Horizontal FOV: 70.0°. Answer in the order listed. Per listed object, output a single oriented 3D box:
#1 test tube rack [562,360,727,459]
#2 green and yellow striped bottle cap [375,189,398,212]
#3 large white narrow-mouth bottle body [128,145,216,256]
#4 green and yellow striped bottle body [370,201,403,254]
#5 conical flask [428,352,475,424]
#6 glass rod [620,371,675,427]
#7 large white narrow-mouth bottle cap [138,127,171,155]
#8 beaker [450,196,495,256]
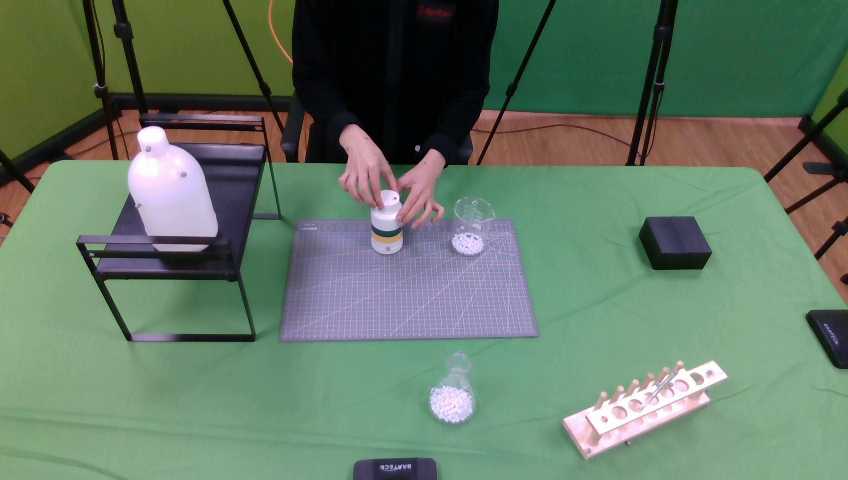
[{"bbox_3d":[0.341,0.247,0.940,0.243,0.085,0.066,-16,49,-18],"label":"test tube rack"},{"bbox_3d":[-0.069,-0.073,1.113,0.045,0.020,0.045,3,45,-3],"label":"green and yellow striped bottle cap"},{"bbox_3d":[-0.366,-0.073,0.872,0.102,0.195,0.101,3,47,-3],"label":"large white narrow-mouth bottle body"},{"bbox_3d":[-0.072,-0.035,1.153,0.063,0.120,0.063,2,46,-2],"label":"green and yellow striped bottle body"},{"bbox_3d":[0.046,0.220,0.920,0.075,0.122,0.075,2,46,-2],"label":"conical flask"},{"bbox_3d":[0.316,0.230,0.863,0.008,0.200,0.008,3,54,-3],"label":"glass rod"},{"bbox_3d":[-0.358,-0.132,0.807,0.038,0.024,0.037,3,47,-3],"label":"large white narrow-mouth bottle cap"},{"bbox_3d":[0.091,-0.024,1.170,0.084,0.101,0.073,15,48,10],"label":"beaker"}]
